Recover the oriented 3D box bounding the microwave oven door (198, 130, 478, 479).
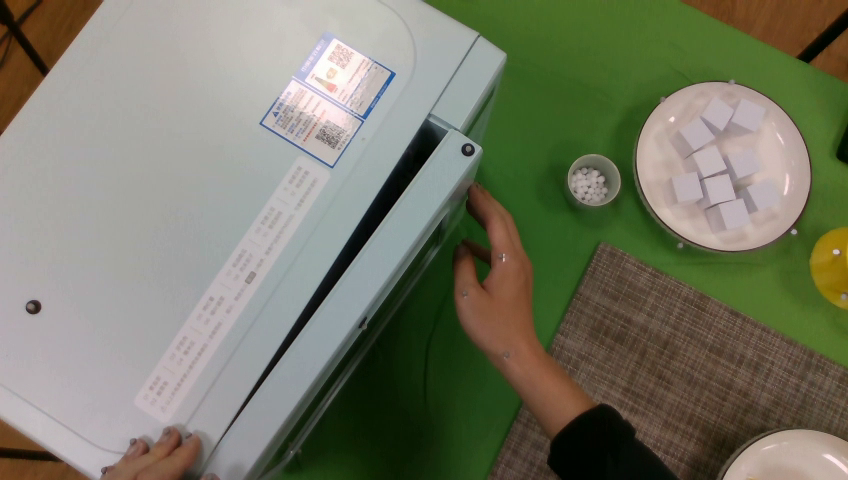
[{"bbox_3d":[-0.072,0.080,0.557,0.039,0.244,0.355,35,81,5],"label":"microwave oven door"}]

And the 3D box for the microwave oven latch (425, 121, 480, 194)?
[{"bbox_3d":[0.033,-0.092,0.690,0.030,0.029,0.079,34,82,4],"label":"microwave oven latch"}]

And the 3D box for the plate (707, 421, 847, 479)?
[{"bbox_3d":[0.398,0.299,0.651,0.209,0.038,0.208,0,81,-1],"label":"plate"}]

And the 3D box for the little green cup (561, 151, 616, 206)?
[{"bbox_3d":[0.190,-0.069,0.709,0.061,0.039,0.061,0,82,0],"label":"little green cup"}]

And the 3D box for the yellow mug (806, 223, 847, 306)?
[{"bbox_3d":[0.506,0.038,0.687,0.100,0.064,0.130,-9,82,-3],"label":"yellow mug"}]

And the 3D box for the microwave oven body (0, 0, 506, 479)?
[{"bbox_3d":[-0.184,-0.035,0.578,0.325,0.261,0.441,31,82,3],"label":"microwave oven body"}]

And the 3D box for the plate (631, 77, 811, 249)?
[{"bbox_3d":[0.346,-0.089,0.718,0.208,0.039,0.207,0,80,-1],"label":"plate"}]
